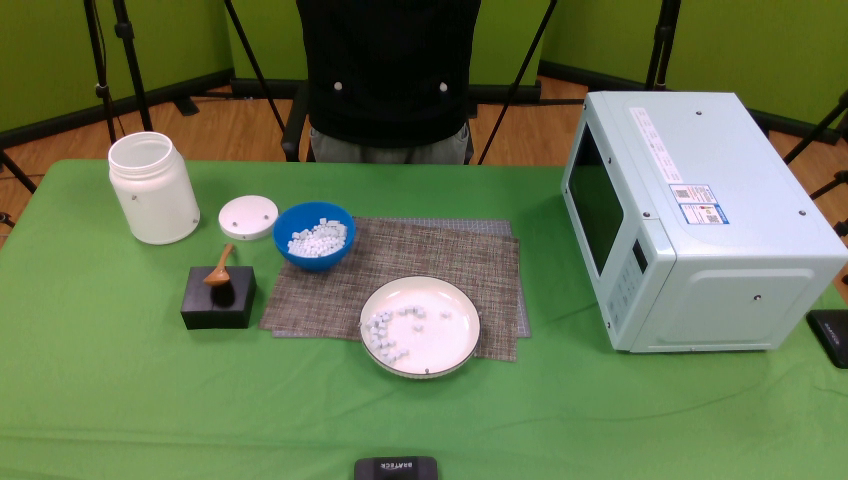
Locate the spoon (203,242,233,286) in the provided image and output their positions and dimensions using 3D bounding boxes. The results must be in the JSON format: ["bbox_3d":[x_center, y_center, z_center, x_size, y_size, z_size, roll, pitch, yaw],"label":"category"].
[{"bbox_3d":[-0.360,0.039,1.087,0.041,0.022,0.192,-6,24,-6],"label":"spoon"}]

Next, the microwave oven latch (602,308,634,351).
[{"bbox_3d":[0.332,0.153,1.044,0.030,0.029,0.078,-1,45,-4],"label":"microwave oven latch"}]

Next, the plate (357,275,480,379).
[{"bbox_3d":[-0.010,0.151,1.038,0.209,0.038,0.208,2,47,-2],"label":"plate"}]

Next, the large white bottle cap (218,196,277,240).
[{"bbox_3d":[-0.354,-0.045,1.220,0.115,0.018,0.114,1,45,-1],"label":"large white bottle cap"}]

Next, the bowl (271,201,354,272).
[{"bbox_3d":[-0.205,0.006,1.135,0.151,0.077,0.150,3,46,-3],"label":"bowl"}]

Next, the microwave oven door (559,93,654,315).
[{"bbox_3d":[0.327,-0.074,1.123,0.039,0.245,0.353,-1,46,-5],"label":"microwave oven door"}]

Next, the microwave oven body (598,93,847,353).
[{"bbox_3d":[0.475,-0.041,1.109,0.326,0.261,0.438,-1,45,-4],"label":"microwave oven body"}]

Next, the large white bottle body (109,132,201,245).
[{"bbox_3d":[-0.506,-0.097,1.141,0.131,0.185,0.130,2,46,-2],"label":"large white bottle body"}]
